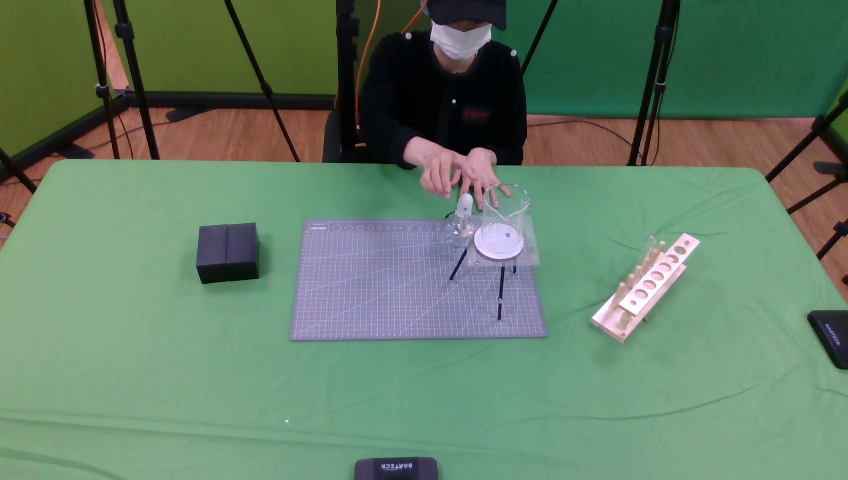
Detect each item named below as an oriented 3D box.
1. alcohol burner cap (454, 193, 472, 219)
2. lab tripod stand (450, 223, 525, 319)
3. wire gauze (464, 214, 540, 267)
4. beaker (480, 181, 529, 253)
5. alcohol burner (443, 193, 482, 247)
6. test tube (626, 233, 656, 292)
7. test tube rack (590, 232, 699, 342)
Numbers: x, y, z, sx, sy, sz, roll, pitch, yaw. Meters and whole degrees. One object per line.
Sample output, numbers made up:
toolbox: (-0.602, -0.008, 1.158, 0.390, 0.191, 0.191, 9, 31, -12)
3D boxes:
alcohol burner cap: (0.076, -0.068, 1.151, 0.034, 0.048, 0.033, 4, 46, -4)
lab tripod stand: (0.120, 0.046, 1.080, 0.148, 0.132, 0.147, 1, 47, -1)
wire gauze: (0.131, -0.001, 1.034, 0.121, 0.011, 0.124, 1, 44, -3)
beaker: (0.130, -0.033, 0.998, 0.074, 0.101, 0.083, 5, 46, 4)
alcohol burner: (0.075, -0.044, 1.177, 0.078, 0.120, 0.077, 2, 44, -1)
test tube: (0.384, 0.042, 1.079, 0.017, 0.151, 0.017, 1, 47, -1)
test tube rack: (0.407, 0.074, 1.112, 0.066, 0.085, 0.242, 35, 53, 26)
